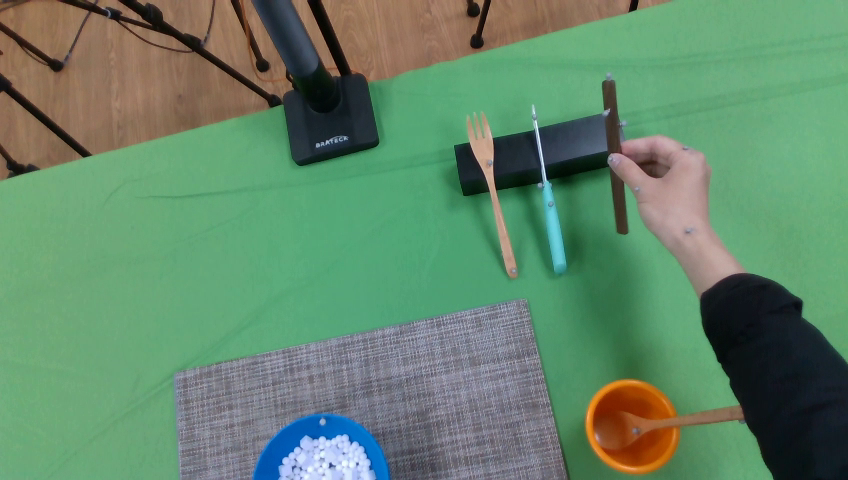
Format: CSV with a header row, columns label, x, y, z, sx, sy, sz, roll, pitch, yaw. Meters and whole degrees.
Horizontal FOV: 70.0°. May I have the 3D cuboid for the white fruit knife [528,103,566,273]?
label,x,y,z,sx,sy,sz,roll,pitch,yaw
white fruit knife,0.144,-0.062,0.724,0.016,0.027,0.207,-11,89,3

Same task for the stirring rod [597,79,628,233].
label,x,y,z,sx,sy,sz,roll,pitch,yaw
stirring rod,0.199,-0.084,0.638,0.014,0.177,0.006,10,38,41

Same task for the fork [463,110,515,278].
label,x,y,z,sx,sy,sz,roll,pitch,yaw
fork,0.082,-0.054,0.731,0.028,0.018,0.207,-14,92,1

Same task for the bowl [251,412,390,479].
label,x,y,z,sx,sy,sz,roll,pitch,yaw
bowl,-0.104,0.267,0.665,0.151,0.077,0.150,-2,74,8

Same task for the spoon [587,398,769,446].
label,x,y,z,sx,sy,sz,roll,pitch,yaw
spoon,0.245,0.180,0.606,0.022,0.193,0.041,5,68,-37
